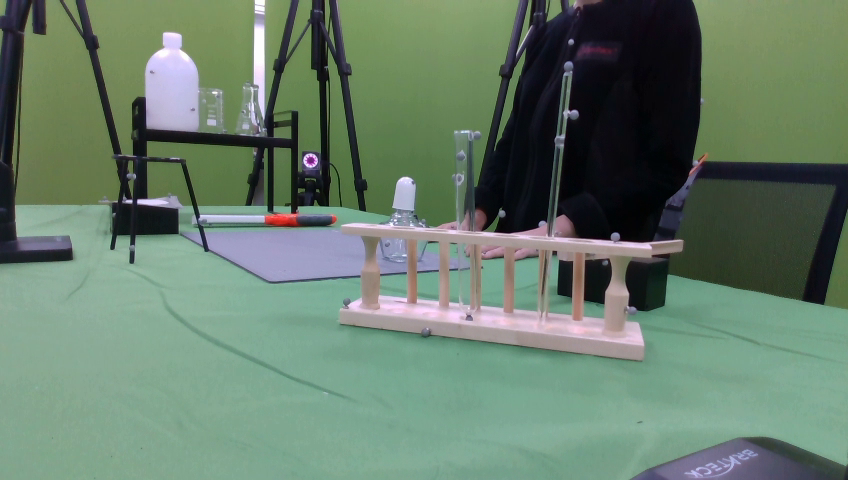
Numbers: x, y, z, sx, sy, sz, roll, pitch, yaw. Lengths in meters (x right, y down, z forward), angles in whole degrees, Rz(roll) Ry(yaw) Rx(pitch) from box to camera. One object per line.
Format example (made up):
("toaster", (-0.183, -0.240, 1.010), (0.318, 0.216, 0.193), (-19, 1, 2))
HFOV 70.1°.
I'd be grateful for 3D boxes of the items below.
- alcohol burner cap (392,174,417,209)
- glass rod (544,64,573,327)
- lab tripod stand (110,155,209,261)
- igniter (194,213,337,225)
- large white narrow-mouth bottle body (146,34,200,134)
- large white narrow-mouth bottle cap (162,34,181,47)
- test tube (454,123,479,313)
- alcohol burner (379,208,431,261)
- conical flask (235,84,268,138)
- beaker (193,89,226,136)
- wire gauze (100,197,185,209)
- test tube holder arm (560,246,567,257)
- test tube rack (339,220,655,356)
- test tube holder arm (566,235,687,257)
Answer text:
("alcohol burner cap", (-0.025, -0.067, 0.834), (0.034, 0.048, 0.034), (8, 7, -1))
("glass rod", (0.101, -0.028, 0.453), (0.008, 0.199, 0.008), (2, 14, 0))
("lab tripod stand", (-0.361, -0.046, 0.806), (0.148, 0.131, 0.148), (2, 5, 0))
("igniter", (-0.306, -0.042, 1.196), (0.278, 0.025, 0.057), (-2, -2, -31))
("large white narrow-mouth bottle body", (-0.512, -0.318, 1.234), (0.102, 0.194, 0.102), (2, 7, 0))
("large white narrow-mouth bottle cap", (-0.510, -0.403, 1.224), (0.038, 0.024, 0.037), (2, 7, 0))
("test tube", (0.034, -0.016, 0.477), (0.017, 0.150, 0.017), (-2, 9, 1))
("alcohol burner", (-0.027, -0.031, 0.838), (0.078, 0.119, 0.078), (0, 6, 0))
("conical flask", (-0.401, -0.299, 1.406), (0.075, 0.122, 0.075), (2, 7, 0))
("beaker", (-0.485, -0.284, 1.353), (0.073, 0.100, 0.084), (8, 10, 42))
("wire gauze", (-0.469, -0.062, 1.008), (0.126, 0.011, 0.121), (-2, 8, -25))
("test tube holder arm", (0.173, 0.007, 0.612), (0.088, 0.015, 0.010), (-3, 8, -30))
("test tube rack", (0.056, 0.032, 0.495), (0.242, 0.085, 0.067), (4, 7, 15))
("test tube holder arm", (0.215, 0.006, 0.630), (0.179, 0.015, 0.013), (-3, 8, -31))
